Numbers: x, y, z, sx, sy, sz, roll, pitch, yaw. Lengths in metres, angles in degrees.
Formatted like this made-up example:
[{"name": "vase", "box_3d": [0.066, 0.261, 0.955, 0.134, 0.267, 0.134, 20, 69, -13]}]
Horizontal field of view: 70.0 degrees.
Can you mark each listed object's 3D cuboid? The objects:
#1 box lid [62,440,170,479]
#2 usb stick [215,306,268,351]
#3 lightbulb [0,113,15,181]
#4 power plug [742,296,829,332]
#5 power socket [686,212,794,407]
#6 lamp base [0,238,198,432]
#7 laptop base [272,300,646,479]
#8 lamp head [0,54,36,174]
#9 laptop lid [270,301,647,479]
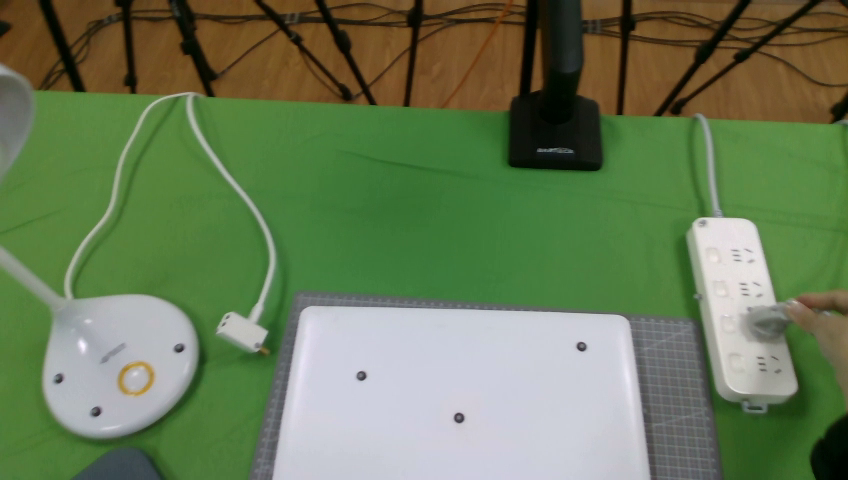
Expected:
[{"name": "box lid", "box_3d": [-0.270, 0.377, 0.498, 0.263, 0.015, 0.368, -38, 65, -19]}, {"name": "usb stick", "box_3d": [-0.190, 0.097, 0.646, 0.021, 0.059, 0.027, -18, 39, 45]}, {"name": "lightbulb", "box_3d": [-0.267, -0.072, 0.319, 0.059, 0.059, 0.108, -34, 102, -17]}, {"name": "power plug", "box_3d": [0.362, 0.081, 0.614, 0.072, 0.053, 0.035, 13, 59, 8]}, {"name": "power socket", "box_3d": [0.335, 0.064, 0.652, 0.072, 0.033, 0.224, 3, 58, 3]}, {"name": "lamp base", "box_3d": [-0.337, 0.078, 0.586, 0.178, 0.182, 0.160, 27, 63, 21]}, {"name": "laptop base", "box_3d": [0.034, 0.175, 0.605, 0.354, 0.023, 0.233, 1, 62, 3]}, {"name": "lamp head", "box_3d": [-0.299, -0.078, 0.323, 0.123, 0.112, 0.112, 31, 62, -6]}, {"name": "laptop lid", "box_3d": [0.033, 0.171, 0.594, 0.356, 0.013, 0.239, 3, 61, 4]}]
